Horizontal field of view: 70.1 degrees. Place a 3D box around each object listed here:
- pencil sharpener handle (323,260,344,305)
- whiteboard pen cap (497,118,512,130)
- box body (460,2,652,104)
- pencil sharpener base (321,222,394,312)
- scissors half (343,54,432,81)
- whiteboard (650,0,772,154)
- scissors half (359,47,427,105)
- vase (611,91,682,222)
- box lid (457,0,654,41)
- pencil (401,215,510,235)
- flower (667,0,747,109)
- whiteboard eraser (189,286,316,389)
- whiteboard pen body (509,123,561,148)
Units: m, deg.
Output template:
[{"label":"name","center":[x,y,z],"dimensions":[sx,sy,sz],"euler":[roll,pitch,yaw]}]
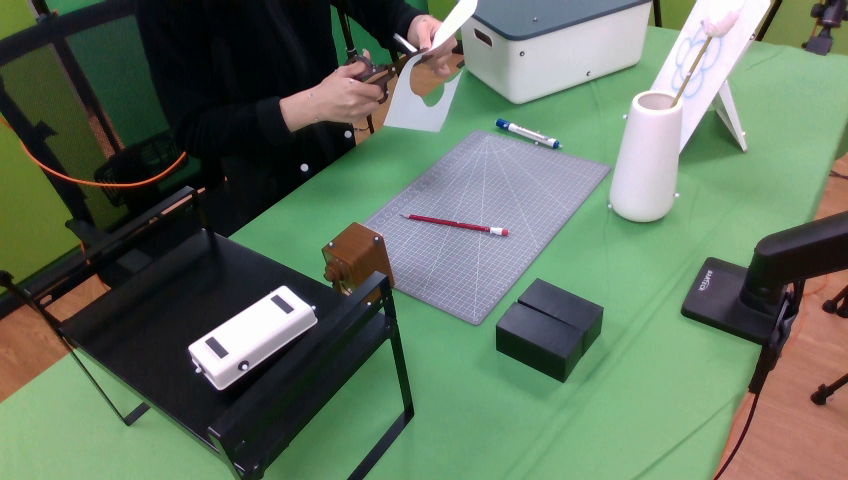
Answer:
[{"label":"pencil sharpener handle","center":[-0.131,0.062,0.839],"dimensions":[0.035,0.068,0.031],"euler":[29,55,28]},{"label":"whiteboard pen cap","center":[0.165,-0.235,1.227],"dimensions":[0.033,0.018,0.018],"euler":[31,53,31]},{"label":"box body","center":[0.291,-0.465,1.371],"dimensions":[0.365,0.161,0.252],"euler":[-22,42,-16]},{"label":"pencil sharpener base","center":[-0.096,0.041,0.873],"dimensions":[0.061,0.107,0.077],"euler":[25,54,32]},{"label":"scissors half","center":[-0.058,-0.264,0.907],"dimensions":[0.174,0.040,0.013],"euler":[4,48,36]},{"label":"whiteboard","center":[0.543,-0.298,1.076],"dimensions":[0.144,0.305,0.216],"euler":[12,40,-7]},{"label":"scissors half","center":[-0.046,-0.248,0.916],"dimensions":[0.174,0.040,0.013],"euler":[-26,22,52]},{"label":"vase","center":[0.348,-0.125,0.935],"dimensions":[0.098,0.201,0.097],"euler":[-3,40,3]},{"label":"box lid","center":[0.285,-0.522,1.323],"dimensions":[0.373,0.015,0.261],"euler":[-22,43,-16]},{"label":"pencil","center":[0.049,-0.027,1.007],"dimensions":[0.193,0.012,0.012],"euler":[10,43,21]},{"label":"flower","center":[0.354,-0.187,0.879],"dimensions":[0.038,0.362,0.044],"euler":[30,48,14]},{"label":"whiteboard eraser","center":[-0.166,0.096,0.593],"dimensions":[0.113,0.042,0.055],"euler":[-36,47,-29]},{"label":"whiteboard pen body","center":[0.208,-0.211,1.195],"dimensions":[0.139,0.017,0.017],"euler":[30,52,33]}]
